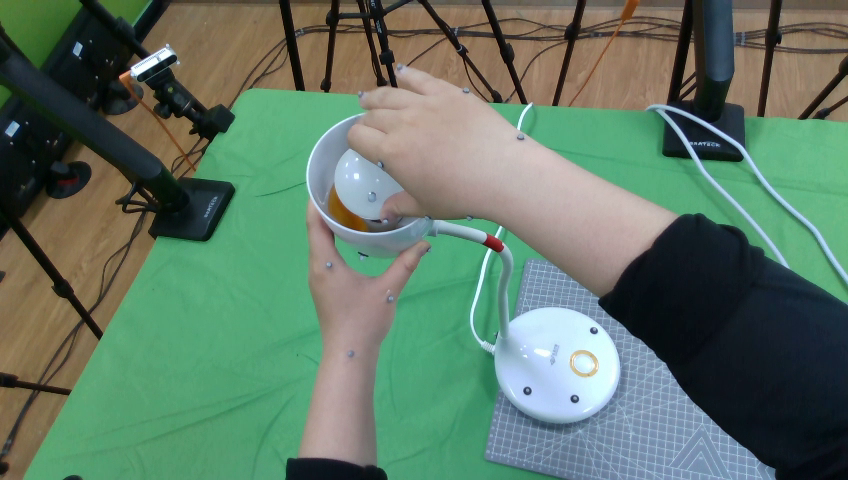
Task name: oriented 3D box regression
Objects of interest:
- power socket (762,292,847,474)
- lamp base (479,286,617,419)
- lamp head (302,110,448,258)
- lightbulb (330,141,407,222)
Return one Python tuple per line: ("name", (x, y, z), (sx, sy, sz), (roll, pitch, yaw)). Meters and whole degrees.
("power socket", (0.454, 0.163, 0.730), (0.072, 0.033, 0.225), (7, 58, 14))
("lamp base", (0.144, 0.114, 0.735), (0.178, 0.182, 0.159), (1, 57, 16))
("lamp head", (-0.035, -0.033, 0.524), (0.112, 0.124, 0.111), (-3, 66, 6))
("lightbulb", (-0.042, -0.040, 0.493), (0.059, 0.108, 0.059), (0, 73, 1))
